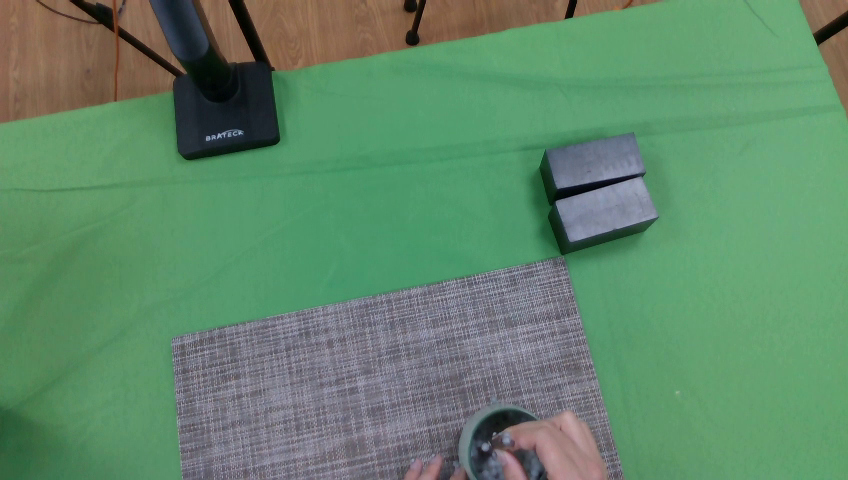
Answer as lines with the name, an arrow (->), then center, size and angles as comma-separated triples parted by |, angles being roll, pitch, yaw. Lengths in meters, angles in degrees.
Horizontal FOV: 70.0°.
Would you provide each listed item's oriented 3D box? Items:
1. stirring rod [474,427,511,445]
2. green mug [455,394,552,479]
stirring rod -> 0.057, 0.172, 0.527 | 0.014, 0.177, 0.006 | 13, 70, 4
green mug -> 0.084, 0.209, 0.581 | 0.092, 0.105, 0.124 | -28, 75, -6
